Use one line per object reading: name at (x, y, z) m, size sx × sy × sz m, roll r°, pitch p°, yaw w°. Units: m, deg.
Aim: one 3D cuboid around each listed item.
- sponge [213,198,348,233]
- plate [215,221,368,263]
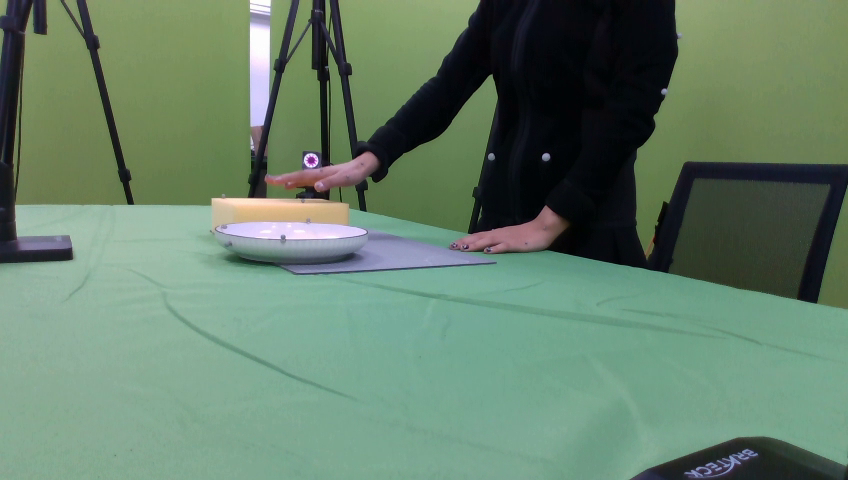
sponge at (-0.251, -0.039, 1.059) m, size 0.208 × 0.061 × 0.117 m, roll -3°, pitch 9°, yaw -36°
plate at (-0.182, 0.002, 0.846) m, size 0.209 × 0.038 × 0.209 m, roll 2°, pitch 7°, yaw 0°
